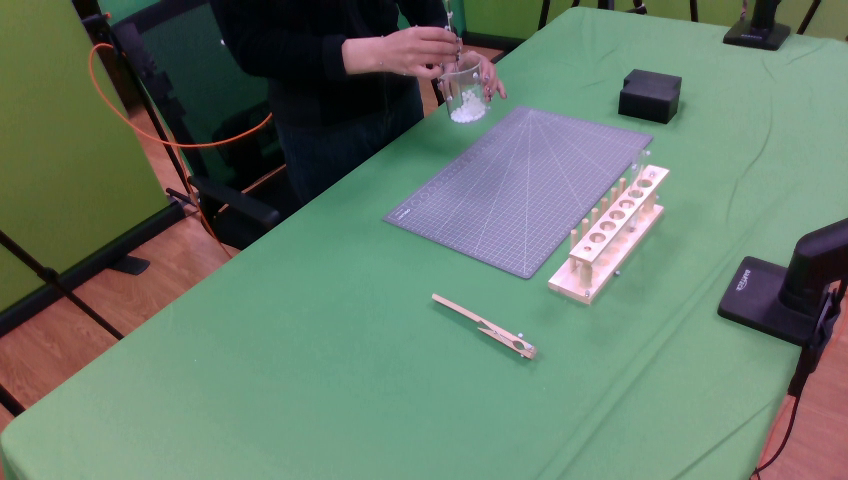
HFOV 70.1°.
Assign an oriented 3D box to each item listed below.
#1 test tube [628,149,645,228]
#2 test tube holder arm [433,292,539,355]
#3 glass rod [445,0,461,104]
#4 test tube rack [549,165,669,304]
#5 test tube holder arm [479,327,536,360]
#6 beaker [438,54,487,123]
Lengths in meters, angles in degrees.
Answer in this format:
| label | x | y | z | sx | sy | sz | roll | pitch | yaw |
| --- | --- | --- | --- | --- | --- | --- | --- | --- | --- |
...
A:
| label | x | y | z | sx | sy | sz | roll | pitch | yaw |
| --- | --- | --- | --- | --- | --- | --- | --- | --- | --- |
| test tube | 0.309 | -0.071 | 0.882 | 0.017 | 0.151 | 0.017 | -7 | 46 | 8 |
| test tube holder arm | 0.081 | 0.113 | 0.832 | 0.177 | 0.015 | 0.013 | 28 | 82 | 36 |
| glass rod | 0.051 | -0.317 | 1.033 | 0.008 | 0.201 | 0.008 | -6 | 47 | 6 |
| test tube rack | 0.279 | -0.018 | 0.902 | 0.066 | 0.085 | 0.243 | 24 | 50 | 33 |
| test tube holder arm | 0.110 | 0.134 | 0.805 | 0.087 | 0.015 | 0.010 | 29 | 82 | 36 |
| beaker | 0.068 | -0.261 | 1.055 | 0.084 | 0.101 | 0.073 | -30 | 40 | -19 |
